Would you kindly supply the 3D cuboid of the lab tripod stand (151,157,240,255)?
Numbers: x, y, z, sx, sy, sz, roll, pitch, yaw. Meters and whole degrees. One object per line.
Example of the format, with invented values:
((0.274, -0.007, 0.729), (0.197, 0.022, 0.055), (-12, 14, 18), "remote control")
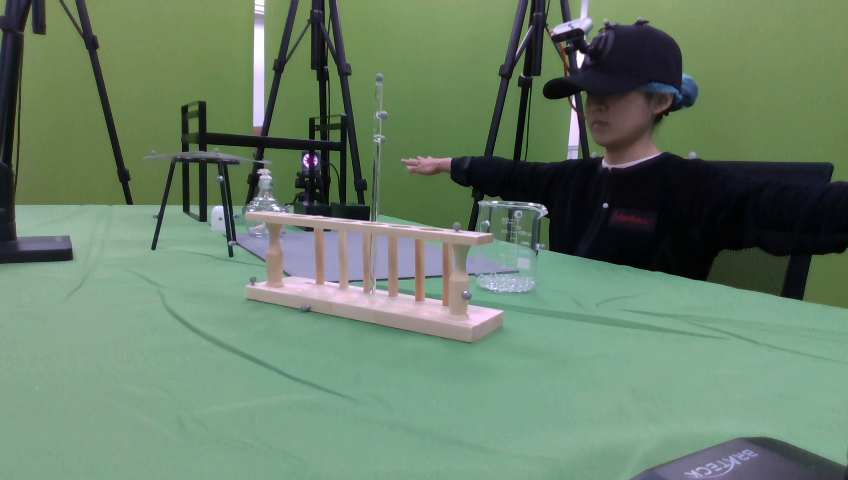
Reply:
((-0.310, -0.052, 0.866), (0.148, 0.131, 0.148), (2, 6, 0), "lab tripod stand")

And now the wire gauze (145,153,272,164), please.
((-0.303, -0.117, 0.854), (0.121, 0.011, 0.126), (7, 7, 34), "wire gauze")

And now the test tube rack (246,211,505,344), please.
((-0.049, 0.025, 0.547), (0.241, 0.085, 0.067), (7, 8, 29), "test tube rack")

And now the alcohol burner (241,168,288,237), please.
((-0.272, -0.064, 1.036), (0.078, 0.119, 0.078), (4, 5, 0), "alcohol burner")

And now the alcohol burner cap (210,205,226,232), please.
((-0.376, -0.040, 1.107), (0.034, 0.048, 0.034), (2, 7, 0), "alcohol burner cap")

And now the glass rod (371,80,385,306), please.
((-0.040, -0.039, 0.530), (0.008, 0.199, 0.008), (2, 2, 0), "glass rod")

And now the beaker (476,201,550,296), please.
((0.098, 0.009, 0.680), (0.083, 0.100, 0.074), (8, 9, 32), "beaker")
